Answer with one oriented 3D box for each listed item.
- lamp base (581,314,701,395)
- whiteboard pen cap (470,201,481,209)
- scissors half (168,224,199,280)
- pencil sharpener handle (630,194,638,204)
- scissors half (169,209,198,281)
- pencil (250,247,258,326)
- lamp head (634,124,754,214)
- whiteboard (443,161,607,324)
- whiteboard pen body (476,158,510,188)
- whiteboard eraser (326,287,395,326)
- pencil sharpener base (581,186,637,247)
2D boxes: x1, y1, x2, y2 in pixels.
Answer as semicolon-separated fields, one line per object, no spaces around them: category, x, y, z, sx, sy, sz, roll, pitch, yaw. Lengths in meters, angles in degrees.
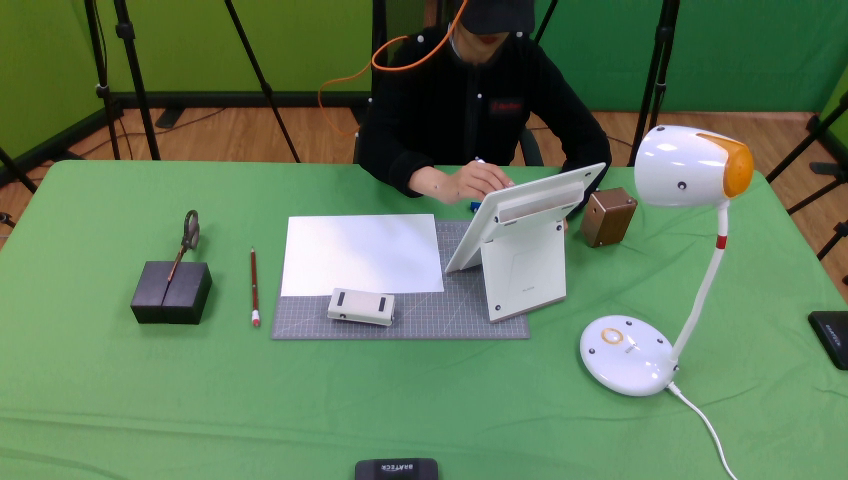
lamp base;0.361;0.144;0.973;0.178;0.181;0.160;34;53;23
whiteboard pen cap;0.113;-0.073;1.280;0.033;0.018;0.018;4;46;6
scissors half;-0.441;0.023;1.111;0.013;0.040;0.174;9;29;-8
pencil sharpener handle;0.417;-0.068;1.215;0.031;0.068;0.036;-11;61;-14
scissors half;-0.438;0.007;1.099;0.013;0.040;0.174;4;48;-5
pencil;-0.312;0.079;1.107;0.012;0.012;0.192;-7;46;-11
lamp head;0.351;-0.089;0.776;0.112;0.113;0.122;-30;30;-28
whiteboard;0.185;0.025;1.029;0.217;0.306;0.143;-15;68;-18
whiteboard pen body;0.139;-0.094;1.056;0.017;0.017;0.140;-29;65;-27
whiteboard eraser;-0.110;0.118;1.057;0.113;0.042;0.055;7;45;2
pencil sharpener base;0.369;-0.047;1.209;0.077;0.107;0.061;-11;47;-14
